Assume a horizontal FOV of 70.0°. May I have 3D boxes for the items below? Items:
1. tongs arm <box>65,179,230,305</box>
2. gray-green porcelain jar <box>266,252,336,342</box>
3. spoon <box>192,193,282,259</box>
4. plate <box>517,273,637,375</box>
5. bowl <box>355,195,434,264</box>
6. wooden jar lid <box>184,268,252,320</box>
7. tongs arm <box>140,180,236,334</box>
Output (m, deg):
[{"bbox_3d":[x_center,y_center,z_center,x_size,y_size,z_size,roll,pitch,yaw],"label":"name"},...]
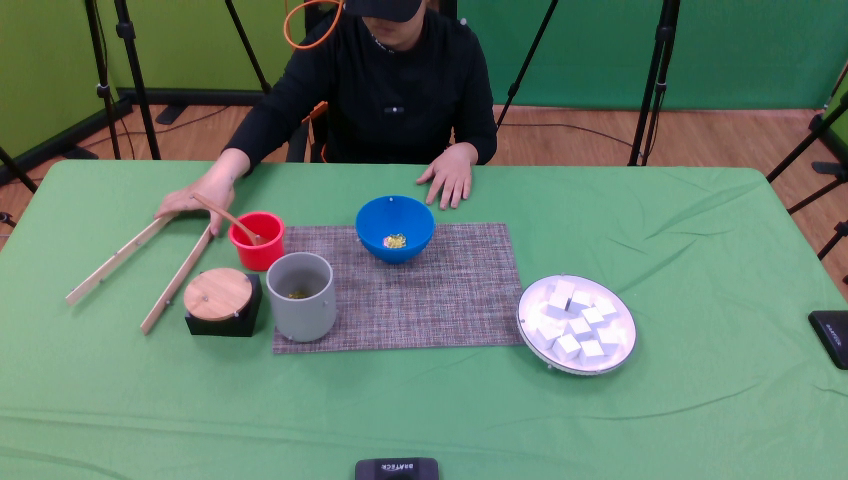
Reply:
[{"bbox_3d":[-0.510,-0.006,1.158,0.050,0.026,0.383,20,47,14],"label":"tongs arm"},{"bbox_3d":[-0.202,0.100,1.009,0.106,0.127,0.105,2,46,-2],"label":"gray-green porcelain jar"},{"bbox_3d":[-0.342,-0.027,1.115,0.194,0.021,0.041,43,40,-24],"label":"spoon"},{"bbox_3d":[0.264,0.149,1.060,0.209,0.038,0.208,3,46,-3],"label":"plate"},{"bbox_3d":[-0.056,-0.008,1.158,0.151,0.077,0.150,2,46,-2],"label":"bowl"},{"bbox_3d":[-0.343,0.092,1.015,0.108,0.021,0.107,3,46,-3],"label":"wooden jar lid"},{"bbox_3d":[-0.434,0.019,1.145,0.028,0.028,0.385,8,45,8],"label":"tongs arm"}]
